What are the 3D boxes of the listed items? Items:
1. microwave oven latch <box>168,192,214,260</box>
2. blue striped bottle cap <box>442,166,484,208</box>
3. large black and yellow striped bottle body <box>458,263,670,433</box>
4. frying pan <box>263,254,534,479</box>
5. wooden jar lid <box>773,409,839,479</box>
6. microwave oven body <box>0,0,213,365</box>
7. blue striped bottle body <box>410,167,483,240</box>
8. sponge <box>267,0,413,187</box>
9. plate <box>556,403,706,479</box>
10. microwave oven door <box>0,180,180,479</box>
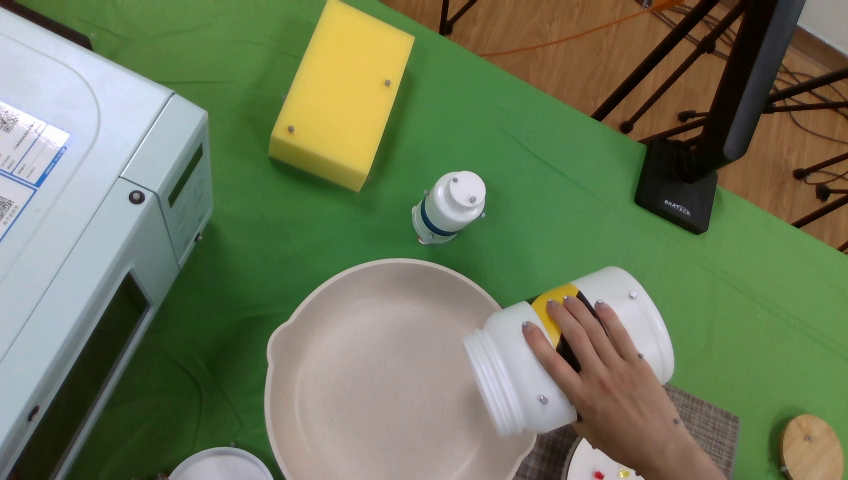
[{"bbox_3d":[-0.253,-0.021,0.646,0.030,0.029,0.079,28,69,-9],"label":"microwave oven latch"},{"bbox_3d":[0.044,-0.060,0.675,0.045,0.020,0.044,5,75,-17],"label":"blue striped bottle cap"},{"bbox_3d":[0.139,0.114,0.626,0.184,0.131,0.130,-21,82,-3],"label":"large black and yellow striped bottle body"},{"bbox_3d":[-0.058,0.248,0.618,0.308,0.103,0.484,24,61,-8],"label":"frying pan"},{"bbox_3d":[0.535,0.294,0.853,0.109,0.021,0.108,5,75,-16],"label":"wooden jar lid"},{"bbox_3d":[-0.418,0.043,0.468,0.327,0.260,0.439,26,69,-10],"label":"microwave oven body"},{"bbox_3d":[0.028,-0.045,0.722,0.063,0.121,0.062,5,73,-17],"label":"blue striped bottle body"},{"bbox_3d":[-0.102,-0.185,0.749,0.119,0.061,0.205,20,70,-12],"label":"sponge"},{"bbox_3d":[0.250,0.307,0.739,0.210,0.038,0.208,5,74,-17],"label":"plate"},{"bbox_3d":[-0.302,0.141,0.474,0.039,0.244,0.354,25,68,-9],"label":"microwave oven door"}]
